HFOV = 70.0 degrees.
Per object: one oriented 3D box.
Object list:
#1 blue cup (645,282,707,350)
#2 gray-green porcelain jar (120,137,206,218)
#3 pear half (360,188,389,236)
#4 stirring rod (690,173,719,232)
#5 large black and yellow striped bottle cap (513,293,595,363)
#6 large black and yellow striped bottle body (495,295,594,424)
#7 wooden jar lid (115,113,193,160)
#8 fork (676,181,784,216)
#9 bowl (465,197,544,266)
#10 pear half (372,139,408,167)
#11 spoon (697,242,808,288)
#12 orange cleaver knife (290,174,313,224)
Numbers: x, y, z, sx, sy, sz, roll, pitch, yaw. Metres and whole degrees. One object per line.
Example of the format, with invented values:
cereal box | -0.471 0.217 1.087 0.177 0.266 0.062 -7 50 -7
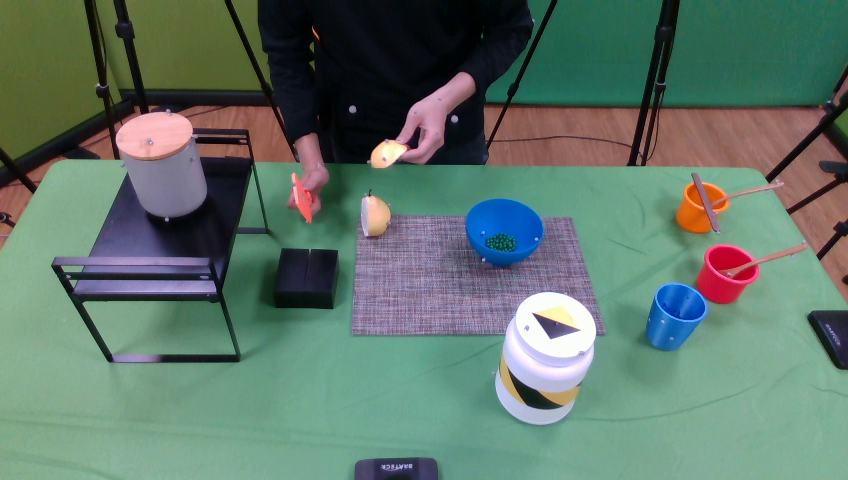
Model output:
blue cup | 0.425 0.136 1.042 0.093 0.101 0.092 1 44 -1
gray-green porcelain jar | -0.403 -0.106 0.946 0.106 0.127 0.105 3 46 -2
pear half | -0.096 -0.060 1.181 0.056 0.110 0.076 -13 52 -17
stirring rod | 0.566 -0.079 1.225 0.014 0.006 0.175 1 45 4
large black and yellow striped bottle cap | 0.186 0.123 0.863 0.115 0.019 0.114 3 45 -3
large black and yellow striped bottle body | 0.183 0.182 0.923 0.131 0.185 0.130 2 46 -2
wooden jar lid | -0.399 -0.151 0.900 0.108 0.021 0.107 3 46 -3
fork | 0.618 -0.084 1.235 0.019 0.207 0.028 55 40 -15
bowl | 0.149 -0.004 1.167 0.151 0.077 0.150 2 46 -2
pear half | -0.065 -0.156 1.060 0.070 0.031 0.087 -31 21 13
spoon | 0.601 0.045 1.115 0.194 0.022 0.041 -29 34 30
orange cleaver knife | -0.226 -0.069 1.137 0.012 0.211 0.077 -12 84 -3
